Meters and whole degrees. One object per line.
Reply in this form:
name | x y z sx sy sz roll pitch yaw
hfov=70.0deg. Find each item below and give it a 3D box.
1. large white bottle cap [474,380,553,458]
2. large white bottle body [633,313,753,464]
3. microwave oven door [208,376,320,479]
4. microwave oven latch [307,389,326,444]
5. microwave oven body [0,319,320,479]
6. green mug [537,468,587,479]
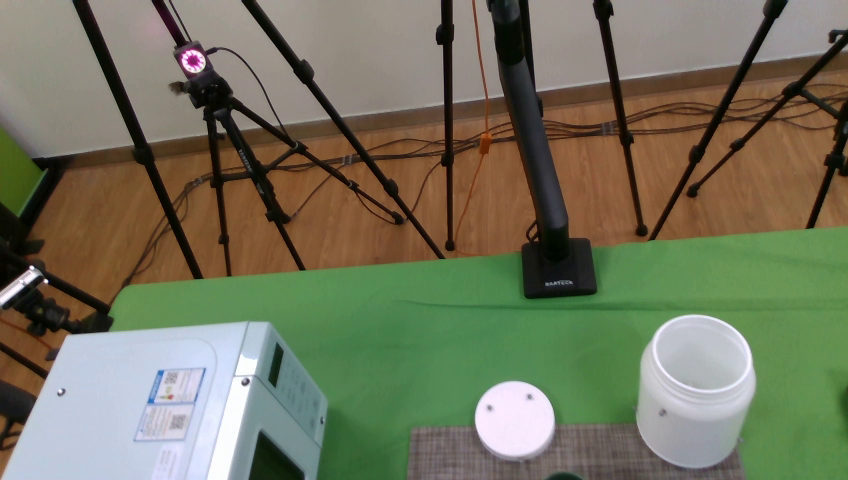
large white bottle cap | 0.130 0.258 0.881 0.114 0.018 0.113 -7 49 9
large white bottle body | 0.338 0.188 0.772 0.130 0.186 0.129 -8 46 8
microwave oven door | -0.201 0.373 0.707 0.039 0.246 0.352 -6 50 11
microwave oven latch | -0.169 0.267 0.921 0.030 0.030 0.078 -5 51 11
microwave oven body | -0.342 0.358 0.763 0.325 0.263 0.437 -5 51 10
green mug | 0.179 0.348 0.735 0.092 0.106 0.124 -25 49 -7
